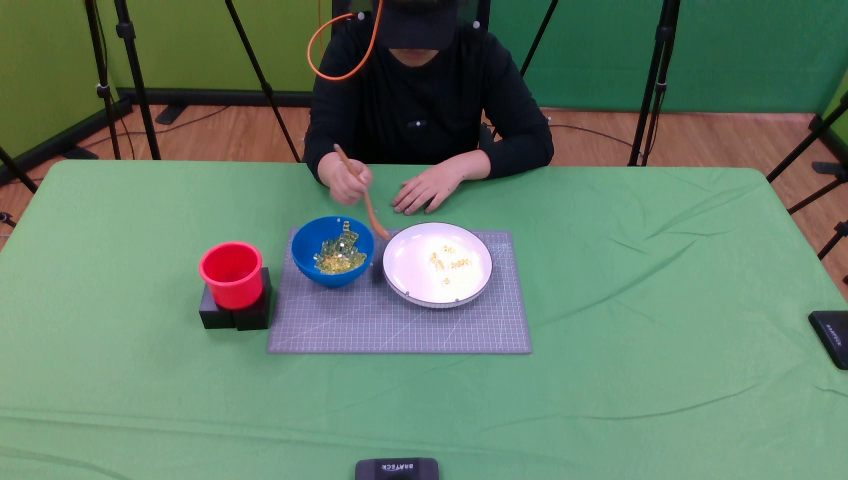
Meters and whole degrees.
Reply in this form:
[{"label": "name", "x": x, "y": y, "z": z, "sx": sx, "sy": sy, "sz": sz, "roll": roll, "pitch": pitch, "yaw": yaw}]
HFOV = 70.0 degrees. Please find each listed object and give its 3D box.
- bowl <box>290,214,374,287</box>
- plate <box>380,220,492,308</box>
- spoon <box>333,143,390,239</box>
[{"label": "bowl", "x": -0.166, "y": 0.032, "z": 1.111, "sx": 0.151, "sy": 0.077, "sz": 0.150, "roll": 2, "pitch": 46, "yaw": -2}, {"label": "plate", "x": 0.022, "y": 0.048, "z": 1.137, "sx": 0.208, "sy": 0.039, "sz": 0.206, "roll": 2, "pitch": 46, "yaw": -2}, {"label": "spoon", "x": -0.104, "y": -0.081, "z": 1.022, "sx": 0.021, "sy": 0.194, "sz": 0.041, "roll": -21, "pitch": 26, "yaw": 6}]
